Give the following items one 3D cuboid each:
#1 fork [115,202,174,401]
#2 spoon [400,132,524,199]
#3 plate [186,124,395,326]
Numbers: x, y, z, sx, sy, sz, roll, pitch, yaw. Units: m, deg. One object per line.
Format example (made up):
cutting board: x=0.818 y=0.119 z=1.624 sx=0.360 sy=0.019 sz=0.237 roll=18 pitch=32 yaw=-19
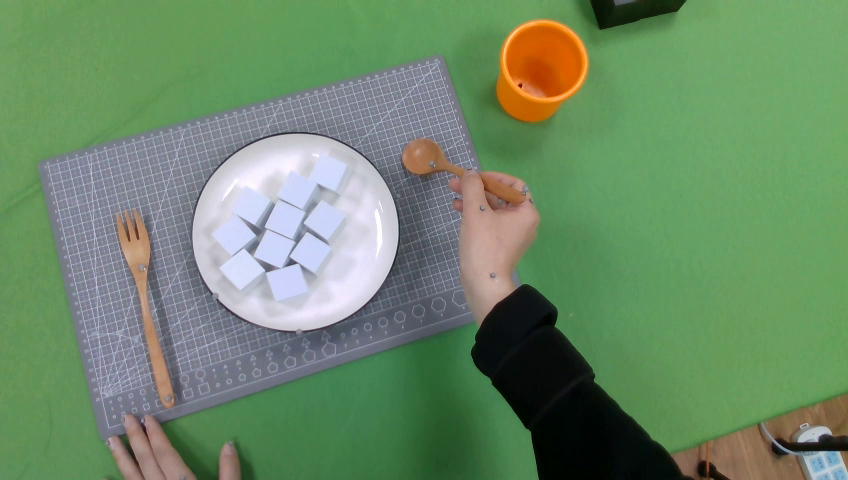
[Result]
fork: x=-0.280 y=0.061 z=0.613 sx=0.028 sy=0.018 sz=0.206 roll=-14 pitch=80 yaw=-12
spoon: x=0.031 y=-0.072 z=0.595 sx=0.022 sy=0.191 sz=0.041 roll=32 pitch=92 yaw=-37
plate: x=-0.134 y=-0.015 z=0.626 sx=0.208 sy=0.039 sz=0.207 roll=1 pitch=81 yaw=-4
